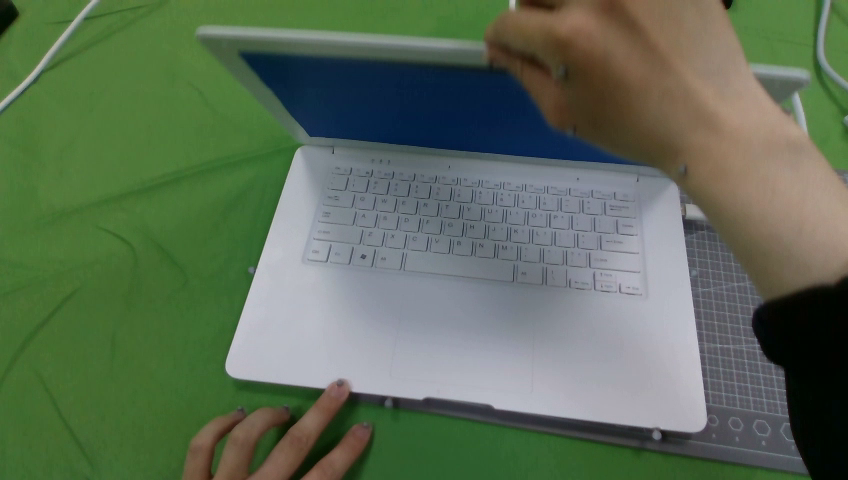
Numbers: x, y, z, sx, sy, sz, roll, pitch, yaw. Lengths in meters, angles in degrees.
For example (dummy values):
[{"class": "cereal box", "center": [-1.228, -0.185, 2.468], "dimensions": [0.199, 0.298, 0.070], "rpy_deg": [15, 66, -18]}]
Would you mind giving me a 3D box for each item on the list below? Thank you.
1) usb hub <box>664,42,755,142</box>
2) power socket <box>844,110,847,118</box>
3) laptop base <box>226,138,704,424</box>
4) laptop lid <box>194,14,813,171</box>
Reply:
[{"class": "usb hub", "center": [0.287, -0.154, 0.621], "dimensions": [0.049, 0.025, 0.124], "rpy_deg": [-6, 56, -4]}, {"class": "power socket", "center": [0.510, -0.070, 0.563], "dimensions": [0.072, 0.033, 0.224], "rpy_deg": [-27, 60, -19]}, {"class": "laptop base", "center": [0.039, 0.020, 0.505], "dimensions": [0.354, 0.023, 0.233], "rpy_deg": [6, 60, 4]}, {"class": "laptop lid", "center": [0.046, -0.097, 0.449], "dimensions": [0.356, 0.242, 0.013], "rpy_deg": [5, 83, 6]}]
